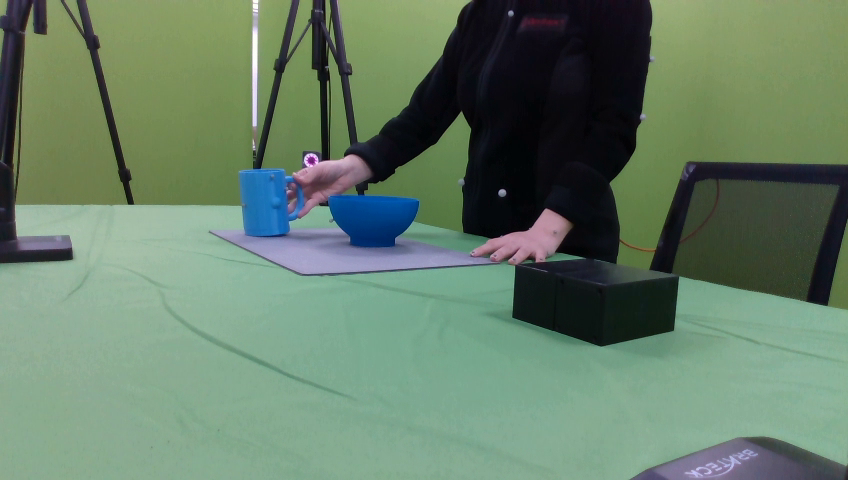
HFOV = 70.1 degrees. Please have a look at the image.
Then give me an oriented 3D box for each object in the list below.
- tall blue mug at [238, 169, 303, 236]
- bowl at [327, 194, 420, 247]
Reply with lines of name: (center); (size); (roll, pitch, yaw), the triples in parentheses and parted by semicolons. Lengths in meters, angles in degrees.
tall blue mug: (-0.270, -0.069, 1.055); (0.077, 0.108, 0.107); (0, 11, 18)
bowl: (-0.083, -0.032, 0.987); (0.151, 0.077, 0.151); (2, 7, 0)
